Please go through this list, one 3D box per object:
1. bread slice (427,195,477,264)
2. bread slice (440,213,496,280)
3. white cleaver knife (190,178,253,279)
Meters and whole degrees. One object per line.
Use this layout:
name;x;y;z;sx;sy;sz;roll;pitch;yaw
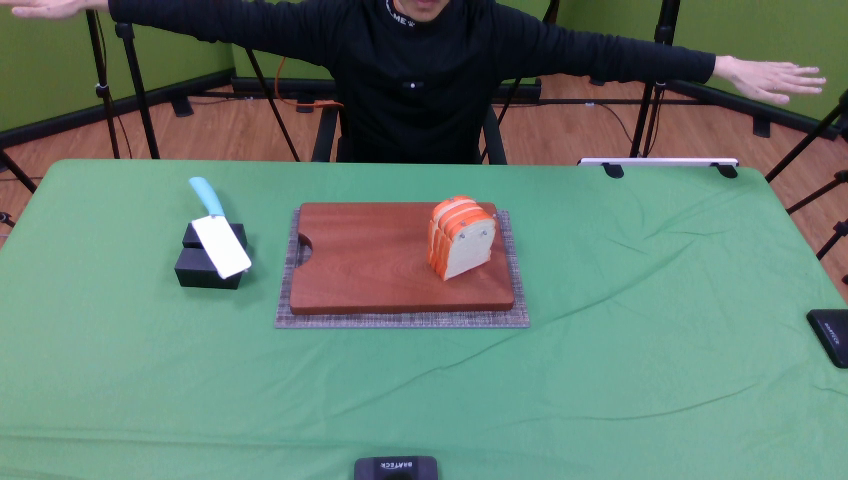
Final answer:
bread slice;0.052;-0.024;1.107;0.105;0.132;0.019;-22;46;-25
bread slice;0.078;0.008;1.077;0.107;0.135;0.018;-24;55;-21
white cleaver knife;-0.397;-0.031;1.137;0.066;0.021;0.284;-20;49;-24
